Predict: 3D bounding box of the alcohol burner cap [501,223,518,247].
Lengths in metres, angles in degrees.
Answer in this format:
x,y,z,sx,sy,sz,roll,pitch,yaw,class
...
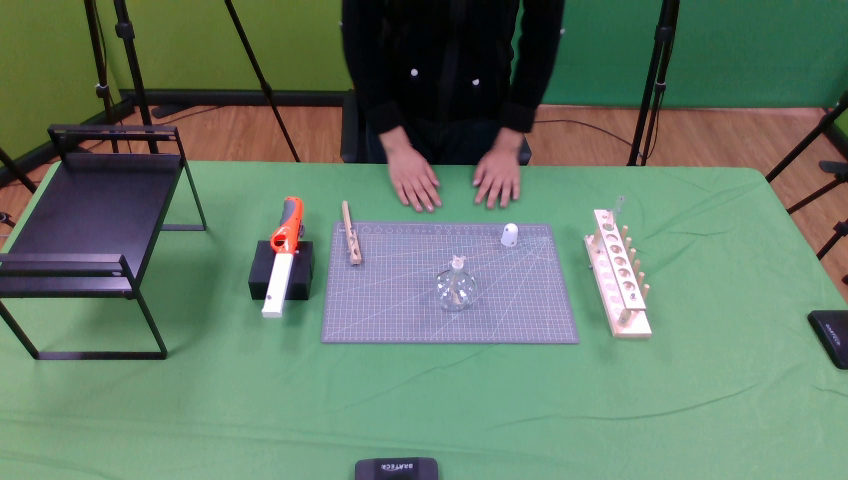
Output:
x,y,z,sx,sy,sz,roll,pitch,yaw,class
0.172,-0.013,1.206,0.034,0.048,0.033,1,47,-1,alcohol burner cap

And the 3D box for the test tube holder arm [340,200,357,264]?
x,y,z,sx,sy,sz,roll,pitch,yaw,class
-0.151,-0.019,1.204,0.013,0.015,0.177,10,39,-27,test tube holder arm

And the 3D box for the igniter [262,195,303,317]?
x,y,z,sx,sy,sz,roll,pitch,yaw,class
-0.253,0.020,1.090,0.057,0.025,0.275,0,49,-1,igniter

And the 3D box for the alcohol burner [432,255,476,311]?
x,y,z,sx,sy,sz,roll,pitch,yaw,class
0.055,0.070,1.068,0.078,0.119,0.077,3,45,-3,alcohol burner

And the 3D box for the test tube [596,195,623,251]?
x,y,z,sx,sy,sz,roll,pitch,yaw,class
0.347,-0.029,1.140,0.017,0.151,0.017,1,52,-1,test tube

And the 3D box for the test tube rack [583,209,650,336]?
x,y,z,sx,sy,sz,roll,pitch,yaw,class
0.365,0.056,1.129,0.067,0.085,0.240,0,46,-4,test tube rack

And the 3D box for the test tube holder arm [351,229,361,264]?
x,y,z,sx,sy,sz,roll,pitch,yaw,class
-0.136,0.012,1.175,0.010,0.015,0.087,11,38,-26,test tube holder arm
